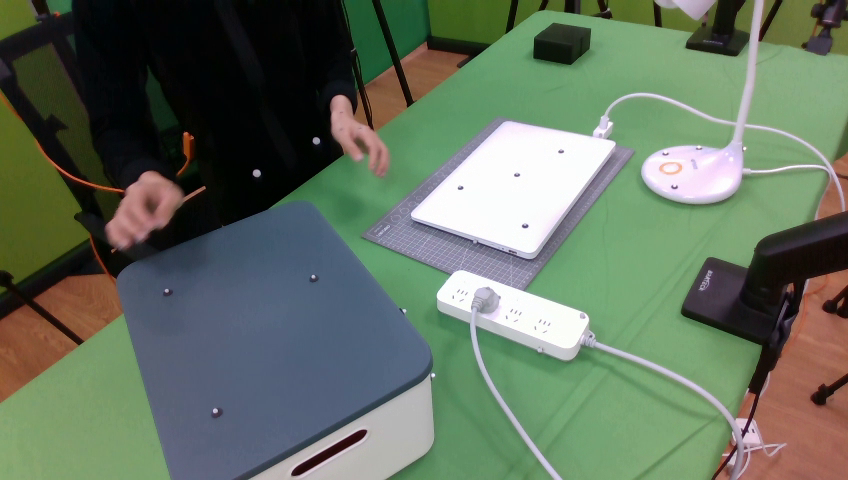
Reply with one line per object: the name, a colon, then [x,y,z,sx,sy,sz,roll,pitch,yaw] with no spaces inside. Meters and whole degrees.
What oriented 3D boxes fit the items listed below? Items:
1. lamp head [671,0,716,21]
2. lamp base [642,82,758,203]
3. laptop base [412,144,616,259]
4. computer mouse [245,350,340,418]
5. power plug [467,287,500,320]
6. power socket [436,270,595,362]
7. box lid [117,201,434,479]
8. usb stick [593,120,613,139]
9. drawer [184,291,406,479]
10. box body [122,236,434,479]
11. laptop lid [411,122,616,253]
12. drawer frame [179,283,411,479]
lamp head: [0.375,-0.373,0.807,0.122,0.113,0.112,-40,27,32]
lamp base: [0.464,-0.174,0.992,0.179,0.181,0.159,-5,41,-1]
laptop base: [0.168,-0.101,1.073,0.234,0.023,0.355,17,46,30]
computer mouse: [-0.165,0.173,0.754,0.118,0.041,0.062,-18,34,-18]
power plug: [0.073,0.092,0.814,0.035,0.053,0.073,29,54,34]
power socket: [0.118,0.101,0.832,0.225,0.033,0.072,19,48,27]
box lid: [-0.182,0.087,0.675,0.264,0.015,0.368,-25,42,-20]
usb stick: [0.336,-0.201,1.146,0.021,0.027,0.059,25,52,27]
drawer: [-0.155,0.179,0.719,0.195,0.073,0.210,-26,40,-21]
box body: [-0.175,0.142,0.724,0.255,0.161,0.360,-25,43,-20]
laptop lid: [0.165,-0.111,1.067,0.240,0.013,0.357,19,46,31]
drawer frame: [-0.155,0.179,0.727,0.202,0.083,0.211,-28,49,-20]
